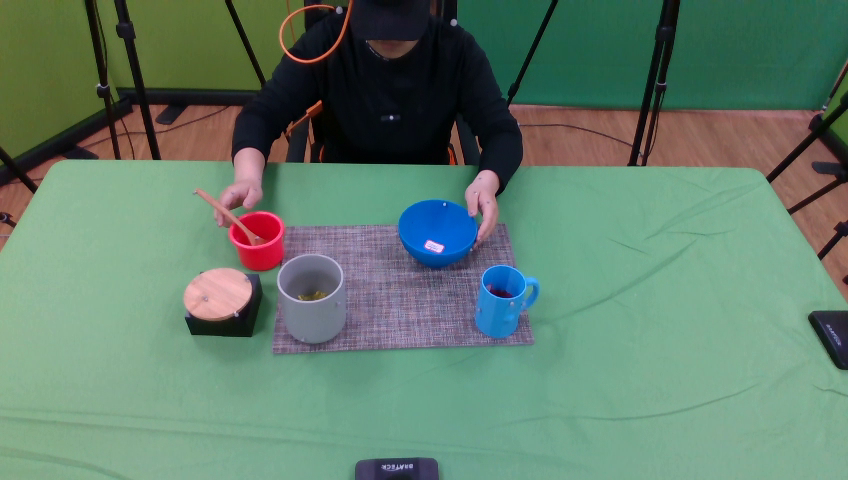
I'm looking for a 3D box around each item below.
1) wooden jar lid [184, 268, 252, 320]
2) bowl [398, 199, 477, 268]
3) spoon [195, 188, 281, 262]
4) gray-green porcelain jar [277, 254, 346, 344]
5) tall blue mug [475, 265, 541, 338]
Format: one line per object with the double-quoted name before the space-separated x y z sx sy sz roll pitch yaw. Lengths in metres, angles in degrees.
"wooden jar lid" -0.343 0.092 1.015 0.108 0.021 0.107 3 46 -3
"bowl" 0.024 0.000 1.156 0.151 0.077 0.150 2 46 -2
"spoon" -0.342 -0.028 1.117 0.194 0.021 0.041 47 48 -20
"gray-green porcelain jar" -0.184 0.102 1.008 0.106 0.127 0.105 2 46 -2
"tall blue mug" 0.141 0.098 1.047 0.077 0.108 0.107 33 53 27
